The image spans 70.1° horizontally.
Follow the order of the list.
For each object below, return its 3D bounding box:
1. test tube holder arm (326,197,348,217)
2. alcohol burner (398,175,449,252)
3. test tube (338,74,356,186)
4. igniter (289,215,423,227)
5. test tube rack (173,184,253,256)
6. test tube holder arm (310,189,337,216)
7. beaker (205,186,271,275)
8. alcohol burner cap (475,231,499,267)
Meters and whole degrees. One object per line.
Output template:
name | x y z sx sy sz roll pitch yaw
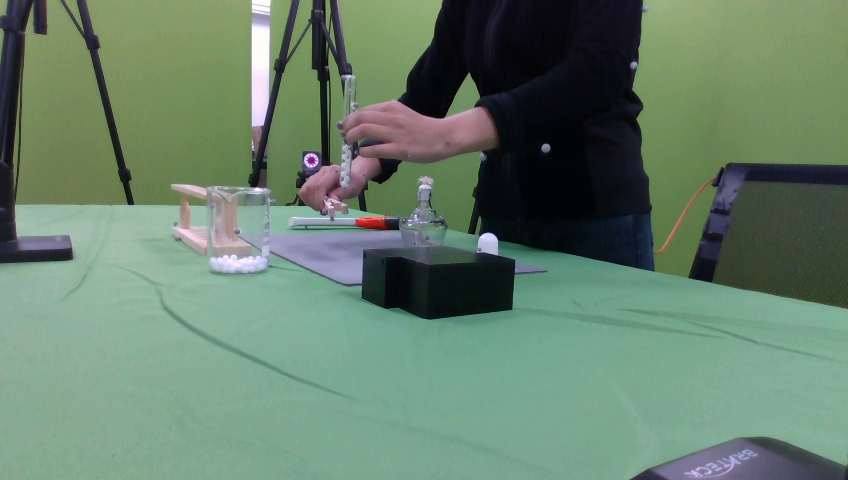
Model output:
test tube holder arm | -0.133 -0.049 0.893 0.010 0.015 0.087 3 12 -31
alcohol burner | -0.001 -0.041 0.937 0.078 0.119 0.078 1 7 0
test tube | -0.104 -0.148 0.818 0.017 0.150 0.017 4 9 0
igniter | -0.133 -0.038 1.231 0.278 0.025 0.057 -1 -2 -25
test tube rack | -0.329 -0.036 0.927 0.067 0.085 0.241 -2 9 -32
test tube holder arm | -0.156 -0.060 0.930 0.013 0.015 0.177 5 11 -23
beaker | -0.221 -0.012 0.717 0.074 0.100 0.084 2 8 -3
alcohol burner cap | 0.088 0.012 0.830 0.034 0.048 0.034 2 6 0
